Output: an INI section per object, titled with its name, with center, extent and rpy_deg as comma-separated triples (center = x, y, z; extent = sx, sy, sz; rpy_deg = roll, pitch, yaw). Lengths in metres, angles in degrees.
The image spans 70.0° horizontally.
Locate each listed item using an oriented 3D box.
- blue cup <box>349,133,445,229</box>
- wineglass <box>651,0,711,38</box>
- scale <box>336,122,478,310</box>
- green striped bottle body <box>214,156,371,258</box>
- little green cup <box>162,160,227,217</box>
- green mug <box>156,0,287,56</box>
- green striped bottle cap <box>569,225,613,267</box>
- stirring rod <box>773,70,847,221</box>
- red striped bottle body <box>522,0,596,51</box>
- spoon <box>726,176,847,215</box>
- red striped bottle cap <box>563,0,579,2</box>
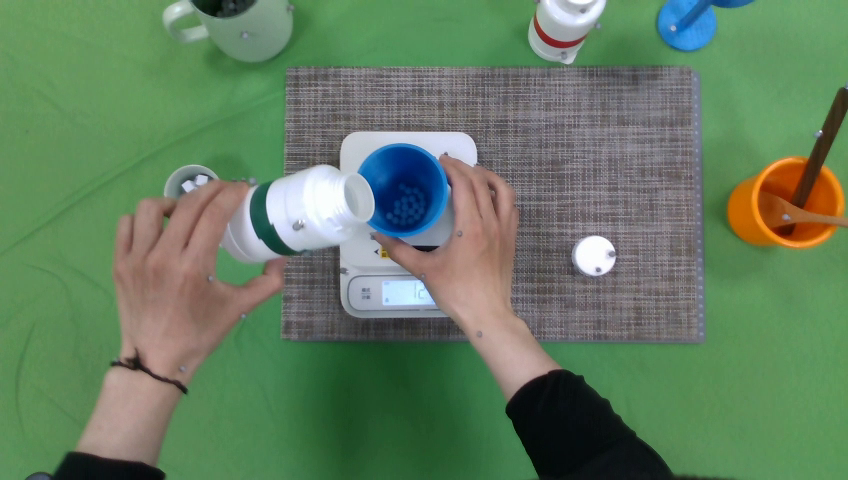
[blue cup]
center = -0.024, -0.050, 0.583
extent = 0.093, 0.100, 0.092
rpy_deg = 0, 89, -1
[wineglass]
center = 0.283, -0.261, 0.588
extent = 0.074, 0.172, 0.073
rpy_deg = 0, 87, 1
[scale]
center = -0.019, -0.026, 0.647
extent = 0.149, 0.031, 0.200
rpy_deg = -1, 88, 1
[green striped bottle body]
center = -0.100, -0.027, 0.475
extent = 0.119, 0.063, 0.063
rpy_deg = -13, 86, 28
[little green cup]
center = -0.243, -0.053, 0.651
extent = 0.061, 0.038, 0.061
rpy_deg = 0, 87, -1
[green mug]
center = -0.212, -0.243, 0.626
extent = 0.125, 0.105, 0.092
rpy_deg = -23, 87, 0
[green striped bottle cap]
center = 0.180, 0.006, 0.653
extent = 0.044, 0.020, 0.044
rpy_deg = 0, 84, 2
[stirring rod]
center = 0.376, -0.085, 0.592
extent = 0.014, 0.178, 0.006
rpy_deg = 8, 47, 15
[red striped bottle body]
center = 0.139, -0.244, 0.616
extent = 0.063, 0.120, 0.063
rpy_deg = 0, 87, 0
[spoon]
center = 0.395, -0.032, 0.590
extent = 0.022, 0.192, 0.041
rpy_deg = 9, 96, -42
[red striped bottle cap]
center = 0.138, -0.246, 0.562
extent = 0.044, 0.018, 0.044
rpy_deg = 0, 85, 1
